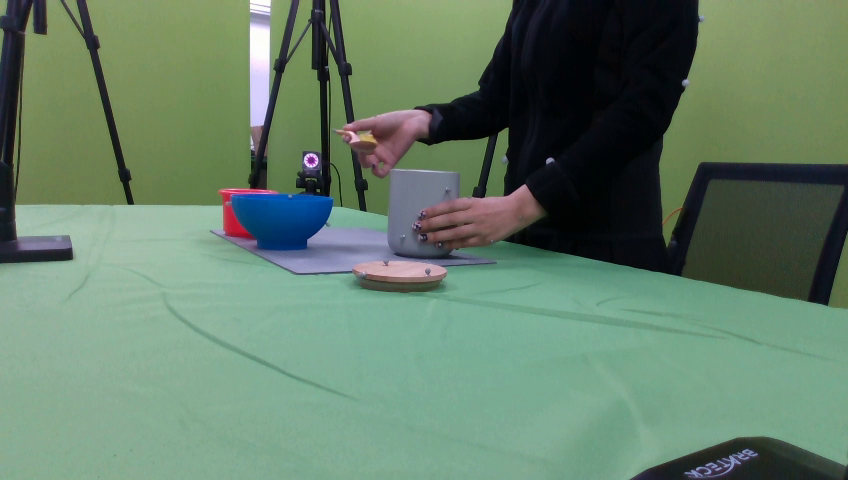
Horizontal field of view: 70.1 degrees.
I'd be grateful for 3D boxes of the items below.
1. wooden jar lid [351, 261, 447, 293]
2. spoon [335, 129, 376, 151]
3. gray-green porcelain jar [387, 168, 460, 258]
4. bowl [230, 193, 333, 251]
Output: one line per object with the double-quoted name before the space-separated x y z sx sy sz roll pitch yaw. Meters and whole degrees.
"wooden jar lid" -0.028 0.042 0.686 0.108 0.020 0.108 3 8 0
"spoon" -0.117 -0.166 0.978 0.042 0.021 0.193 3 18 -21
"gray-green porcelain jar" -0.001 -0.041 0.896 0.106 0.126 0.106 2 7 0
"bowl" -0.214 -0.028 0.912 0.151 0.077 0.151 2 8 0
